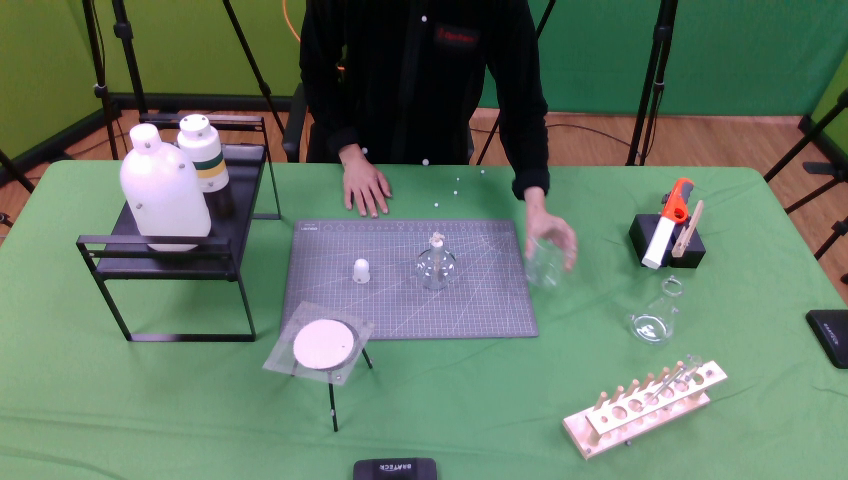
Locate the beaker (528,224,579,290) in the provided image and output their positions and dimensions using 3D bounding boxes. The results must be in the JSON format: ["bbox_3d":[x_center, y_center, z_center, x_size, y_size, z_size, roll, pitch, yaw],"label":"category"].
[{"bbox_3d":[0.224,0.031,1.059,0.074,0.101,0.083,18,47,14],"label":"beaker"}]

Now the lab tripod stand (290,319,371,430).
[{"bbox_3d":[-0.146,0.194,0.923,0.148,0.132,0.147,1,47,-1],"label":"lab tripod stand"}]

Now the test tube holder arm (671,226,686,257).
[{"bbox_3d":[0.494,0.001,1.167,0.010,0.015,0.087,0,36,42],"label":"test tube holder arm"}]

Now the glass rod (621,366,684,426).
[{"bbox_3d":[0.322,0.227,0.866,0.008,0.200,0.008,6,51,-7],"label":"glass rod"}]

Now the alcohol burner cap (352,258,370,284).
[{"bbox_3d":[-0.117,0.055,1.118,0.034,0.048,0.033,2,46,-1],"label":"alcohol burner cap"}]

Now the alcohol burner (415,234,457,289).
[{"bbox_3d":[0.022,0.033,1.099,0.078,0.120,0.077,1,47,0],"label":"alcohol burner"}]

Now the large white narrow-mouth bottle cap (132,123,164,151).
[{"bbox_3d":[-0.370,-0.138,0.812,0.038,0.024,0.037,3,46,-3],"label":"large white narrow-mouth bottle cap"}]

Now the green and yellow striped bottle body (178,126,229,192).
[{"bbox_3d":[-0.361,-0.142,0.989,0.063,0.120,0.063,2,46,-2],"label":"green and yellow striped bottle body"}]

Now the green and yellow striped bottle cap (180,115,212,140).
[{"bbox_3d":[-0.358,-0.177,0.951,0.045,0.020,0.045,1,45,-1],"label":"green and yellow striped bottle cap"}]

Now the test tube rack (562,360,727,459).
[{"bbox_3d":[0.341,0.247,0.940,0.243,0.085,0.066,-16,49,-19],"label":"test tube rack"}]

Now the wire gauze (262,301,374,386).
[{"bbox_3d":[-0.150,0.148,0.873,0.121,0.011,0.124,14,46,12],"label":"wire gauze"}]

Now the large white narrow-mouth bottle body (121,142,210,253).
[{"bbox_3d":[-0.378,-0.077,0.875,0.102,0.195,0.101,3,46,-3],"label":"large white narrow-mouth bottle body"}]

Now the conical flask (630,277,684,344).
[{"bbox_3d":[0.408,0.117,1.045,0.075,0.122,0.075,2,46,-2],"label":"conical flask"}]

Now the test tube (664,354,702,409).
[{"bbox_3d":[0.385,0.215,0.906,0.017,0.151,0.017,-1,49,1],"label":"test tube"}]

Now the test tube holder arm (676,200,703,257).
[{"bbox_3d":[0.522,-0.025,1.190,0.013,0.015,0.178,0,35,42],"label":"test tube holder arm"}]

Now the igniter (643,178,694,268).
[{"bbox_3d":[0.488,-0.042,1.205,0.057,0.025,0.276,30,52,11],"label":"igniter"}]
